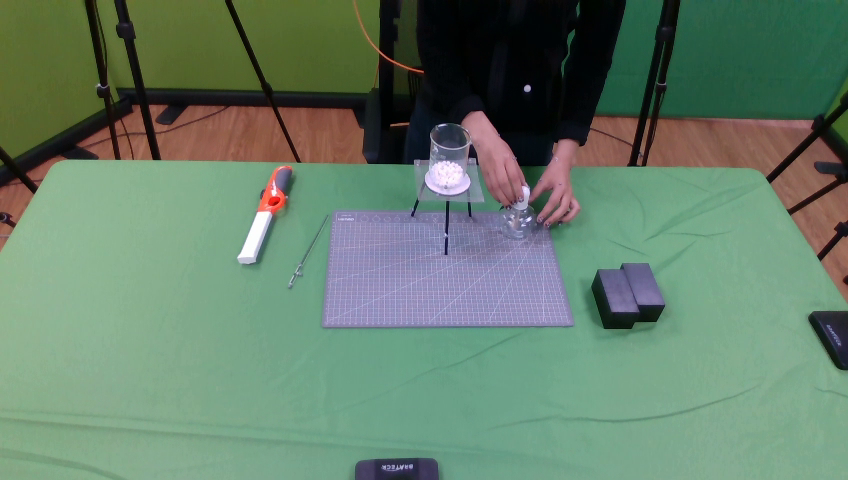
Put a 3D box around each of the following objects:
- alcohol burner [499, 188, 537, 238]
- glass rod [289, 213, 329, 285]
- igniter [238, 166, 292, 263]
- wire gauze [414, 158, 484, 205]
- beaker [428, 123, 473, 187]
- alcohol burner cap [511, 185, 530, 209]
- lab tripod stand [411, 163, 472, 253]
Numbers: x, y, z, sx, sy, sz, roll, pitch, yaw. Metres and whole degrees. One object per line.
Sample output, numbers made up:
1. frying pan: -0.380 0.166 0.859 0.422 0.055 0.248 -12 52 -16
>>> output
1. alcohol burner: 0.189 -0.061 1.202 0.078 0.120 0.077 1 48 -1
2. glass rod: -0.221 0.014 1.179 0.008 0.008 0.199 12 46 8
3. igniter: -0.318 -0.060 1.229 0.057 0.025 0.275 -2 45 10
4. wire gauze: 0.045 -0.113 1.137 0.125 0.011 0.120 1 48 -6
5. beaker: 0.044 -0.154 1.109 0.074 0.101 0.083 -25 54 -25
6. alcohol burner cap: 0.189 -0.087 1.177 0.034 0.048 0.033 4 50 -4
7. lab tripod stand: 0.043 -0.069 1.187 0.148 0.132 0.147 3 47 -3
